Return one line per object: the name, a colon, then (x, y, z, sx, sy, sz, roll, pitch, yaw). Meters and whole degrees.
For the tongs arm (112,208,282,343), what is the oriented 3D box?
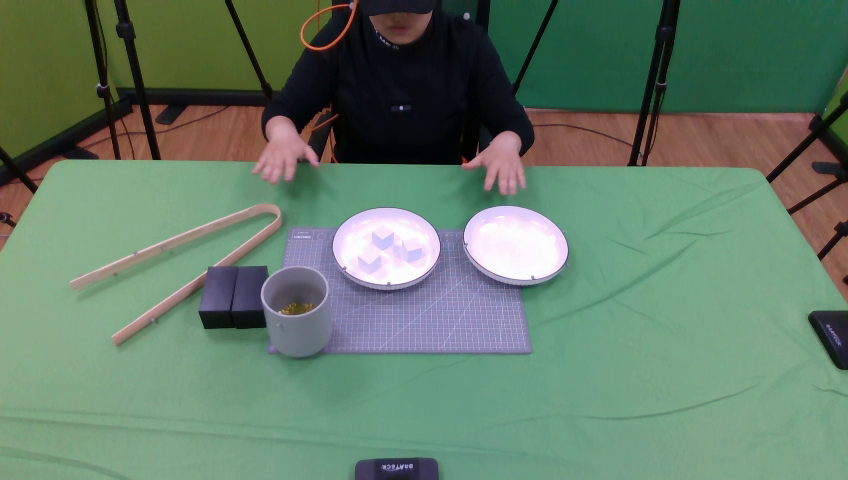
tongs arm: (-0.397, 0.057, 1.109, 0.028, 0.028, 0.387, 28, 50, 25)

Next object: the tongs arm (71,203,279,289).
tongs arm: (-0.454, 0.011, 1.144, 0.385, 0.026, 0.050, -29, 55, -29)

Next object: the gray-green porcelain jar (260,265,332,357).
gray-green porcelain jar: (-0.205, 0.121, 0.989, 0.106, 0.127, 0.105, 2, 46, -2)

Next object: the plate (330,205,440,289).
plate: (-0.074, 0.017, 1.160, 0.208, 0.039, 0.206, 2, 46, -2)

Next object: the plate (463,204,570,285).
plate: (0.178, 0.011, 1.184, 0.209, 0.038, 0.208, 3, 46, -3)
